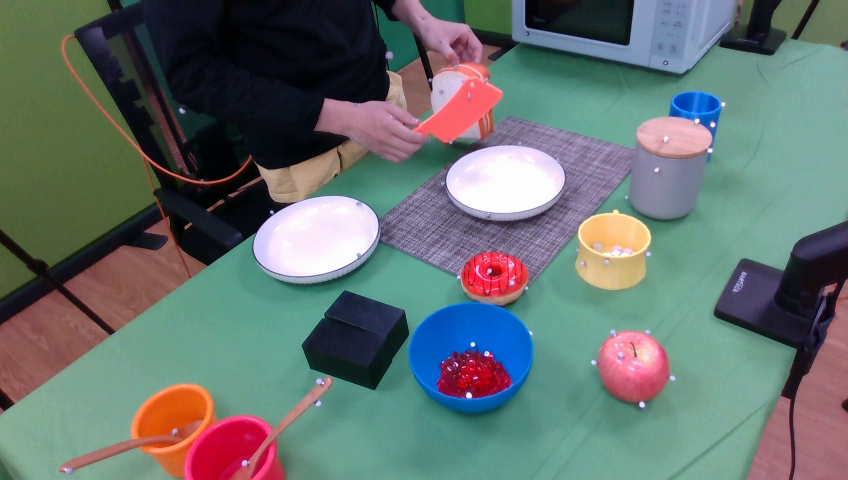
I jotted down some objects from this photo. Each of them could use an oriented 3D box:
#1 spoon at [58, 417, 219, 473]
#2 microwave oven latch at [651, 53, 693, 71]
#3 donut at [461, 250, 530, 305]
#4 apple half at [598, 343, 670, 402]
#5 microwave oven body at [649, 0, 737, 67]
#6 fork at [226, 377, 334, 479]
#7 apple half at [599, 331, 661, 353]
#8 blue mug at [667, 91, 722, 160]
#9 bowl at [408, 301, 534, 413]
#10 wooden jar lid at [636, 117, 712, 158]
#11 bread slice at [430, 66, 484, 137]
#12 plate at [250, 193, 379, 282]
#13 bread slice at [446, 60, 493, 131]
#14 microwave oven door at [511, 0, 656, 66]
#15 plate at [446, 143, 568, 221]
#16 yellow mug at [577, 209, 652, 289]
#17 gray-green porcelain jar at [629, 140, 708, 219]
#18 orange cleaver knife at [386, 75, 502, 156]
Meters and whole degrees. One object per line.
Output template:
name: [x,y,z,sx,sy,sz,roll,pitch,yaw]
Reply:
spoon: [-0.304,0.221,0.661,0.041,0.195,0.021,19,92,27]
microwave oven latch: [0.532,-0.386,1.301,0.078,0.029,0.030,27,52,34]
donut: [0.103,0.053,0.872,0.099,0.048,0.098,-5,40,4]
apple half: [0.247,0.161,0.710,0.081,0.075,0.053,2,47,5]
microwave oven body: [0.475,-0.602,1.411,0.438,0.261,0.327,23,50,32]
fork: [-0.163,0.216,0.647,0.207,0.019,0.028,-49,42,16]
apple half: [0.249,0.134,0.738,0.081,0.081,0.032,-2,46,7]
blue mug: [0.474,-0.207,1.079,0.082,0.106,0.116,4,42,13]
bowl: [0.059,0.156,0.739,0.151,0.077,0.150,-4,40,4]
wooden jar lid: [0.377,-0.151,0.917,0.108,0.021,0.108,-2,41,3]
bread slice: [0.057,-0.255,1.120,0.104,0.132,0.019,10,36,26]
plate: [-0.174,-0.001,0.984,0.209,0.038,0.208,-3,40,3]
bread slice: [0.082,-0.275,1.157,0.106,0.134,0.018,13,33,22]
microwave oven door: [0.351,-0.540,1.349,0.353,0.245,0.039,24,50,31]
plate: [0.142,-0.097,1.045,0.207,0.039,0.206,-4,40,4]
yellow mug: [0.279,0.004,0.893,0.099,0.064,0.130,5,41,15]
gray-green porcelain jar: [0.383,-0.105,0.958,0.106,0.127,0.105,-4,41,4]
orange cleaver knife: [0.030,-0.192,0.991,0.210,0.078,0.012,-34,43,25]
